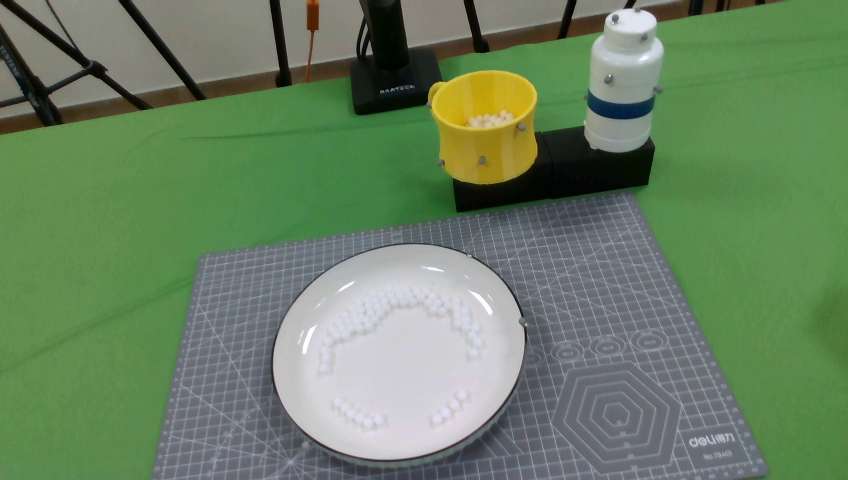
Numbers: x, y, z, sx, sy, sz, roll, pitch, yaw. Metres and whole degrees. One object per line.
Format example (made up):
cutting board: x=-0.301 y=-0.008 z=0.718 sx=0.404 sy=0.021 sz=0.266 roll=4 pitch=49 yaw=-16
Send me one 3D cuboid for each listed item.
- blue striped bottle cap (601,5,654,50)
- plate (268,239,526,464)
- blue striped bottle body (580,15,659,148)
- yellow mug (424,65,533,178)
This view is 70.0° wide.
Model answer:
blue striped bottle cap: x=0.178 y=-0.187 z=0.529 sx=0.044 sy=0.021 sz=0.044 roll=-6 pitch=46 yaw=7
plate: x=-0.021 y=0.087 z=0.499 sx=0.207 sy=0.039 sz=0.205 roll=-4 pitch=47 yaw=5
blue striped bottle body: x=0.182 y=-0.152 z=0.567 sx=0.063 sy=0.122 sz=0.062 roll=-5 pitch=47 yaw=5
yellow mug: x=0.046 y=-0.124 z=0.600 sx=0.100 sy=0.064 sz=0.129 roll=-39 pitch=52 yaw=-25
